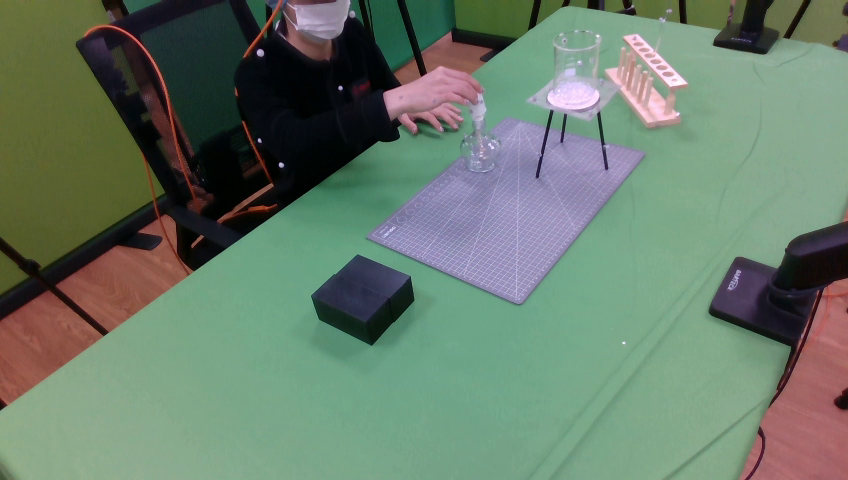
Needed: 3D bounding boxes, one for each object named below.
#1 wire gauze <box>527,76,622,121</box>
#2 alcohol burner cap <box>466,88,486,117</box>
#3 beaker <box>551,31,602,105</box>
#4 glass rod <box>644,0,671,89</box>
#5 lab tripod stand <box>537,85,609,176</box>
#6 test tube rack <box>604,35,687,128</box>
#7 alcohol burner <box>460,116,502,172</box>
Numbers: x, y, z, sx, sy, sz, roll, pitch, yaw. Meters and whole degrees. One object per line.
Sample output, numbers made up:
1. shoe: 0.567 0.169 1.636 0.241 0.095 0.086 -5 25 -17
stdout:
1. wire gauze: 0.255 -0.247 1.030 0.124 0.011 0.122 23 49 34
2. alcohol burner cap: 0.088 -0.239 1.042 0.034 0.048 0.033 -9 41 8
3. beaker: 0.252 -0.282 0.998 0.084 0.101 0.073 -16 42 -7
4. glass rod: 0.463 -0.387 1.204 0.008 0.200 0.008 0 47 1
5. lab tripod stand: 0.259 -0.192 1.068 0.148 0.132 0.147 -4 43 4
6. test tube rack: 0.447 -0.330 1.241 0.067 0.085 0.241 -9 41 -2
7. alcohol burner: 0.102 -0.185 1.098 0.078 0.119 0.077 -6 40 5
